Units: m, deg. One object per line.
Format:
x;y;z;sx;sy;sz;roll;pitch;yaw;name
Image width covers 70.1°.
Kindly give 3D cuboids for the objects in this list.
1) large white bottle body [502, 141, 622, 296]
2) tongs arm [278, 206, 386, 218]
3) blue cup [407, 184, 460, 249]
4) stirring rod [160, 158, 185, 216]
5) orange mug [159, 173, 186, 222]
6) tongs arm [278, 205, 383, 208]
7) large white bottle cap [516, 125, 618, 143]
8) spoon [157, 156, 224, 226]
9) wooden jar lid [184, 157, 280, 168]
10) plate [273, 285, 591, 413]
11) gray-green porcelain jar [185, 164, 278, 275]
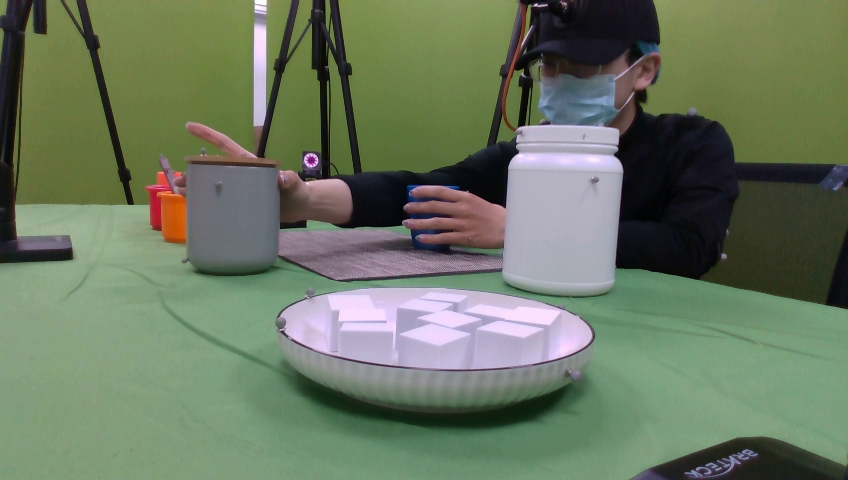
0.160;-0.037;0.706;0.131;0.184;0.130;2;7;0;large white bottle body
-0.252;-0.062;1.360;0.387;0.026;0.050;-1;3;-31;tongs arm
0.013;-0.038;0.970;0.093;0.100;0.092;3;5;0;blue cup
-0.391;-0.070;0.971;0.014;0.006;0.175;0;48;-49;stirring rod
-0.477;-0.089;1.241;0.127;0.101;0.083;-8;12;-33;orange mug
-0.288;-0.070;1.435;0.389;0.027;0.028;0;0;-17;tongs arm
0.163;-0.120;0.695;0.115;0.018;0.115;2;8;0;large white bottle cap
-0.425;-0.094;1.117;0.041;0.022;0.194;4;51;29;spoon
-0.226;-0.087;0.717;0.108;0.020;0.108;1;6;0;wooden jar lid
0.004;0.069;0.407;0.208;0.039;0.207;2;7;0;plate
-0.229;-0.026;0.725;0.106;0.126;0.106;2;7;0;gray-green porcelain jar
